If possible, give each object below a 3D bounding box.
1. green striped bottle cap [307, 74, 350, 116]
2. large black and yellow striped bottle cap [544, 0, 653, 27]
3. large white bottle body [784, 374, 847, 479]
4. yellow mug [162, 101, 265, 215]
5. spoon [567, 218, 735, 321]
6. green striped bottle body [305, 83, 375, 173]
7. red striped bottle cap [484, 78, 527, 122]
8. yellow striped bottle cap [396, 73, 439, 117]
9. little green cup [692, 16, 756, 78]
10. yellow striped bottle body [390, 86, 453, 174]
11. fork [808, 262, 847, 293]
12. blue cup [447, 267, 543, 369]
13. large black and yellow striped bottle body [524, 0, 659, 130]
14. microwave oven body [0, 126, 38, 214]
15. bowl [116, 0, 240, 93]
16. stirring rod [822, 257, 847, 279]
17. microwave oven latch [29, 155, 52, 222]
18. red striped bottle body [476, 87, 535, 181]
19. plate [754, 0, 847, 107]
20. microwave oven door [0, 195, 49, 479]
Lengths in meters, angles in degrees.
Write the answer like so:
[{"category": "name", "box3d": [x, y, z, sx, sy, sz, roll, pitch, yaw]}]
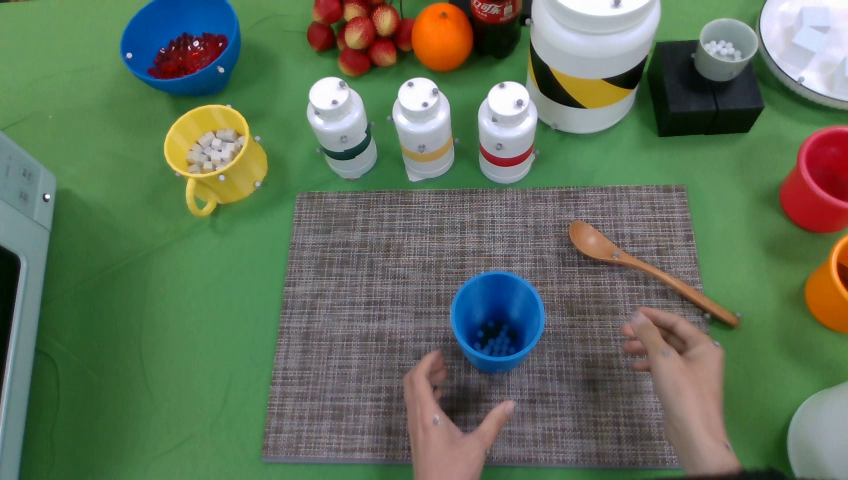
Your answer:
[{"category": "green striped bottle cap", "box3d": [-0.102, -0.154, 0.642, 0.044, 0.020, 0.044, -2, 65, 4]}, {"category": "large black and yellow striped bottle cap", "box3d": [0.171, -0.257, 0.592, 0.115, 0.019, 0.114, -2, 65, 5]}, {"category": "large white bottle body", "box3d": [0.390, 0.158, 0.478, 0.130, 0.186, 0.129, -2, 65, 5]}, {"category": "yellow mug", "box3d": [-0.252, -0.092, 0.716, 0.100, 0.064, 0.130, 9, 68, 8]}, {"category": "spoon", "box3d": [0.235, 0.031, 0.635, 0.192, 0.022, 0.041, 30, 47, 16]}, {"category": "green striped bottle body", "box3d": [-0.096, -0.132, 0.690, 0.063, 0.120, 0.062, -2, 65, 5]}, {"category": "red striped bottle cap", "box3d": [0.084, -0.144, 0.619, 0.044, 0.018, 0.044, 0, 64, 1]}, {"category": "yellow striped bottle cap", "box3d": [-0.007, -0.152, 0.632, 0.044, 0.019, 0.044, -2, 67, 4]}, {"category": "little green cup", "box3d": [0.330, -0.213, 0.674, 0.061, 0.039, 0.061, -1, 65, 3]}, {"category": "yellow striped bottle body", "box3d": [-0.002, -0.130, 0.679, 0.063, 0.121, 0.062, -2, 65, 6]}, {"category": "fork", "box3d": [0.447, 0.054, 0.539, 0.028, 0.019, 0.205, -34, 23, -14]}, {"category": "blue cup", "box3d": [0.067, 0.084, 0.584, 0.092, 0.101, 0.092, -2, 66, 4]}, {"category": "large black and yellow striped bottle body", "box3d": [0.180, -0.224, 0.669, 0.130, 0.185, 0.129, -2, 66, 5]}, {"category": "microwave oven body", "box3d": [-0.593, 0.084, 0.560, 0.326, 0.262, 0.438, -9, 66, 1]}, {"category": "bowl", "box3d": [-0.302, -0.244, 0.782, 0.151, 0.077, 0.150, -2, 66, 4]}, {"category": "stirring rod", "box3d": [0.419, 0.053, 0.547, 0.014, 0.006, 0.175, -7, 23, 2]}, {"category": "microwave oven latch", "box3d": [-0.463, -0.059, 0.716, 0.030, 0.030, 0.078, -7, 66, 2]}, {"category": "red striped bottle body", "box3d": [0.091, -0.121, 0.667, 0.063, 0.121, 0.062, -4, 63, 8]}, {"category": "plate", "box3d": [0.501, -0.241, 0.726, 0.209, 0.038, 0.207, -2, 66, 5]}, {"category": "microwave oven door", "box3d": [-0.444, 0.097, 0.535, 0.039, 0.246, 0.352, -10, 65, 2]}]
